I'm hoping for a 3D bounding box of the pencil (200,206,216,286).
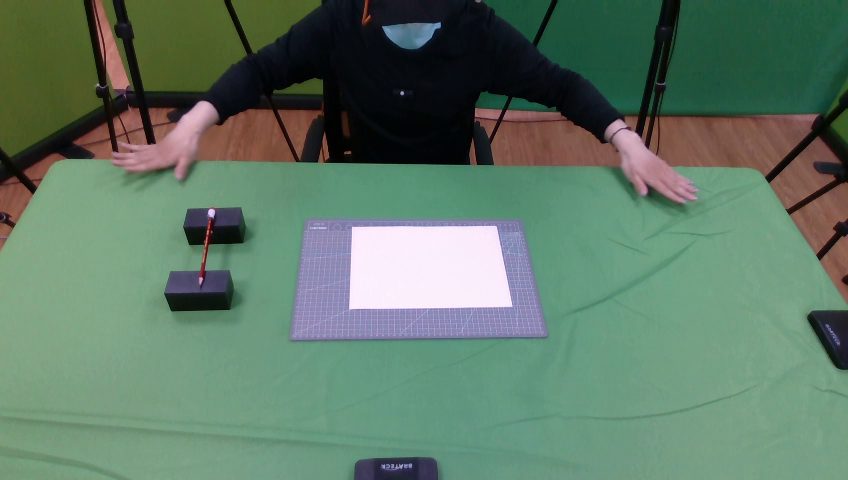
[{"bbox_3d":[-0.393,0.007,1.098,0.012,0.012,0.192,-3,48,-7],"label":"pencil"}]
